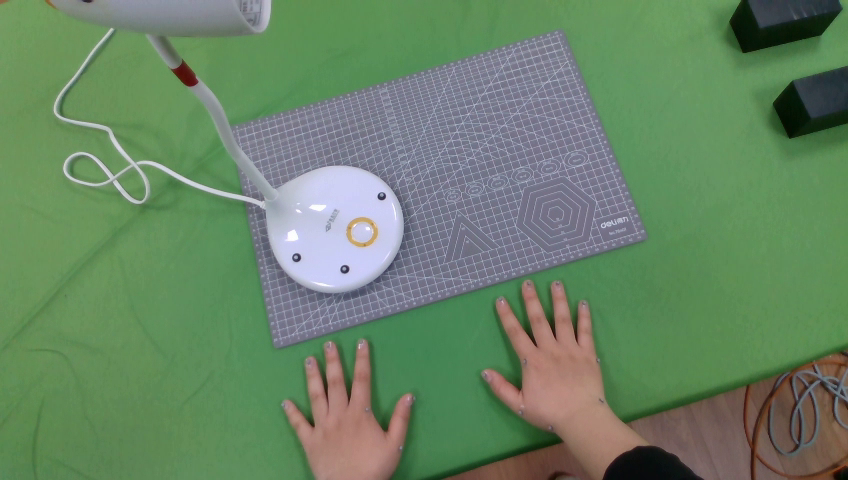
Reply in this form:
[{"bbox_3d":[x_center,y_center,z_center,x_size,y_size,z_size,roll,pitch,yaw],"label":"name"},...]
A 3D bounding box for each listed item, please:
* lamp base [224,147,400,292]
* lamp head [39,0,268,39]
[{"bbox_3d":[-0.128,-0.041,0.650,0.179,0.181,0.160,9,74,11],"label":"lamp base"},{"bbox_3d":[-0.162,-0.166,0.349,0.123,0.113,0.111,-10,72,8],"label":"lamp head"}]
